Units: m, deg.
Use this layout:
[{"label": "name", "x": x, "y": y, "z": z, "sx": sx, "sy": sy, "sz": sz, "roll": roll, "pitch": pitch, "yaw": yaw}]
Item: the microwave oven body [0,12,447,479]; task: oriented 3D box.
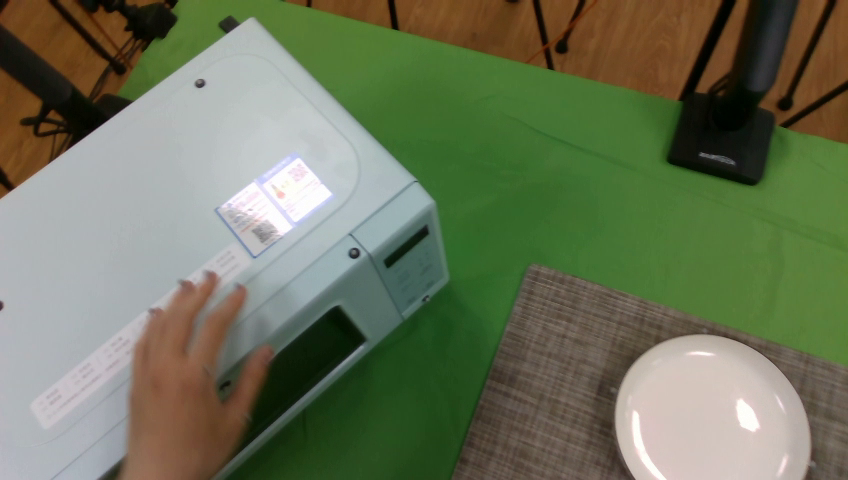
[{"label": "microwave oven body", "x": -0.245, "y": 0.033, "z": 0.675, "sx": 0.441, "sy": 0.262, "sz": 0.323, "roll": -41, "pitch": 71, "yaw": -9}]

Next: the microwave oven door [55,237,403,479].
[{"label": "microwave oven door", "x": -0.180, "y": 0.156, "z": 0.616, "sx": 0.355, "sy": 0.245, "sz": 0.039, "roll": -41, "pitch": 70, "yaw": -10}]

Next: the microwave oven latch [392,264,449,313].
[{"label": "microwave oven latch", "x": -0.005, "y": 0.053, "z": 0.747, "sx": 0.079, "sy": 0.030, "sz": 0.030, "roll": -39, "pitch": 71, "yaw": -9}]

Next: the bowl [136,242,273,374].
[{"label": "bowl", "x": -0.237, "y": 0.087, "z": 0.693, "sx": 0.151, "sy": 0.077, "sz": 0.150, "roll": -3, "pitch": 65, "yaw": 6}]

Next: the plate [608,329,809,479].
[{"label": "plate", "x": 0.309, "y": 0.204, "z": 0.673, "sx": 0.207, "sy": 0.039, "sz": 0.206, "roll": -2, "pitch": 69, "yaw": 5}]
